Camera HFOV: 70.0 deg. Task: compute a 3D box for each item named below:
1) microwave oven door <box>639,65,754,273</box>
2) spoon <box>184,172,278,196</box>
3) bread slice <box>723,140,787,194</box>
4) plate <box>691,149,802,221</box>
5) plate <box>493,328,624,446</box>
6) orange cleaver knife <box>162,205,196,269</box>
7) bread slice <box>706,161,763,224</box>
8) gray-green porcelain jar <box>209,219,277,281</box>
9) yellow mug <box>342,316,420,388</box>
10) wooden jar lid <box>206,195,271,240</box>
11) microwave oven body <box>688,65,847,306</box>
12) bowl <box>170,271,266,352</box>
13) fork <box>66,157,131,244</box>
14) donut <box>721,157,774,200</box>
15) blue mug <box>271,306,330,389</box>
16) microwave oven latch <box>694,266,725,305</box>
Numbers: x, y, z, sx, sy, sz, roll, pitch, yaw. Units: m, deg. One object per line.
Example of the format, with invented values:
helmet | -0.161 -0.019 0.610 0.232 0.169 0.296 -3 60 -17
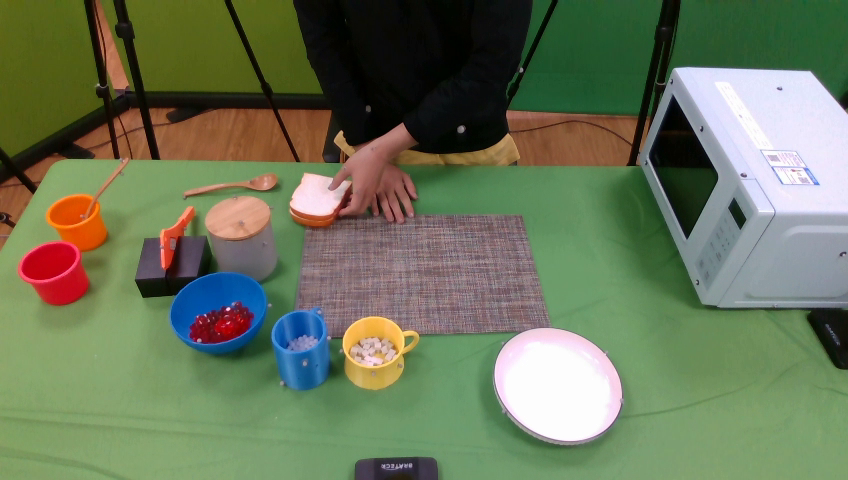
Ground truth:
microwave oven door | 0.522 -0.147 1.193 0.039 0.245 0.353 0 47 -3
spoon | -0.405 -0.116 1.275 0.194 0.022 0.041 -8 66 -12
bread slice | 0.661 -0.147 1.201 0.107 0.018 0.133 0 54 9
plate | 0.652 -0.108 1.238 0.209 0.038 0.208 -1 46 1
plate | 0.213 0.236 0.974 0.208 0.039 0.206 2 46 -2
orange cleaver knife | -0.454 -0.010 1.129 0.012 0.077 0.210 -1 20 -5
bread slice | 0.650 -0.104 1.262 0.105 0.019 0.131 12 70 10
gray-green porcelain jar | -0.323 0.007 1.092 0.106 0.127 0.105 2 46 -2
yellow mug | -0.068 0.177 0.990 0.131 0.064 0.099 -16 50 -19
wooden jar lid | -0.319 -0.036 1.046 0.108 0.021 0.107 1 44 0
microwave oven body | 0.669 -0.111 1.176 0.326 0.261 0.439 0 46 -3
bowl | -0.333 0.132 1.006 0.151 0.077 0.150 2 46 -2
fork | -0.608 -0.074 1.132 0.207 0.019 0.028 -52 48 10
donut | 0.648 -0.123 1.215 0.099 0.048 0.098 -3 55 5
blue mug | -0.188 0.163 0.969 0.082 0.106 0.116 15 47 10
microwave oven latch | 0.523 0.082 1.115 0.030 0.029 0.078 3 46 0
